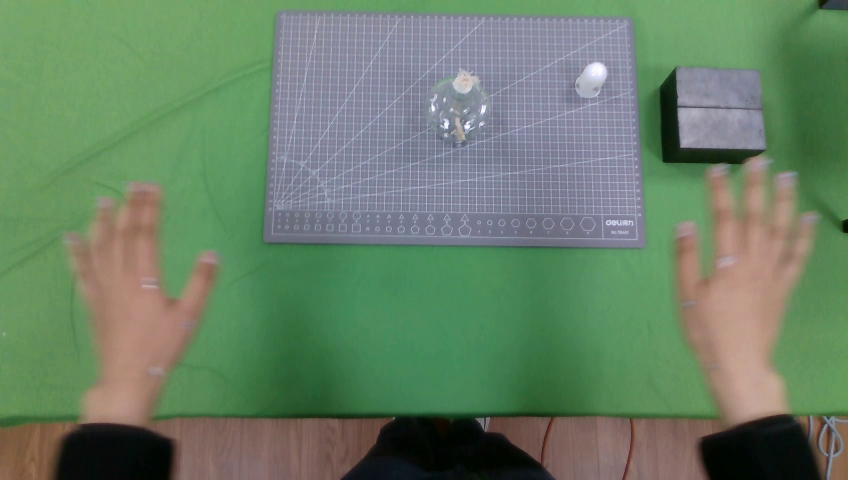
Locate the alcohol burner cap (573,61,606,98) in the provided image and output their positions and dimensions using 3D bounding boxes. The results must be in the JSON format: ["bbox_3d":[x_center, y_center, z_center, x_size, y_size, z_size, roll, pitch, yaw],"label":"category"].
[{"bbox_3d":[0.202,-0.197,0.733,0.034,0.048,0.033,0,78,-1],"label":"alcohol burner cap"}]

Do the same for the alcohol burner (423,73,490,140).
[{"bbox_3d":[0.039,-0.159,0.685,0.078,0.119,0.077,1,79,-3],"label":"alcohol burner"}]
